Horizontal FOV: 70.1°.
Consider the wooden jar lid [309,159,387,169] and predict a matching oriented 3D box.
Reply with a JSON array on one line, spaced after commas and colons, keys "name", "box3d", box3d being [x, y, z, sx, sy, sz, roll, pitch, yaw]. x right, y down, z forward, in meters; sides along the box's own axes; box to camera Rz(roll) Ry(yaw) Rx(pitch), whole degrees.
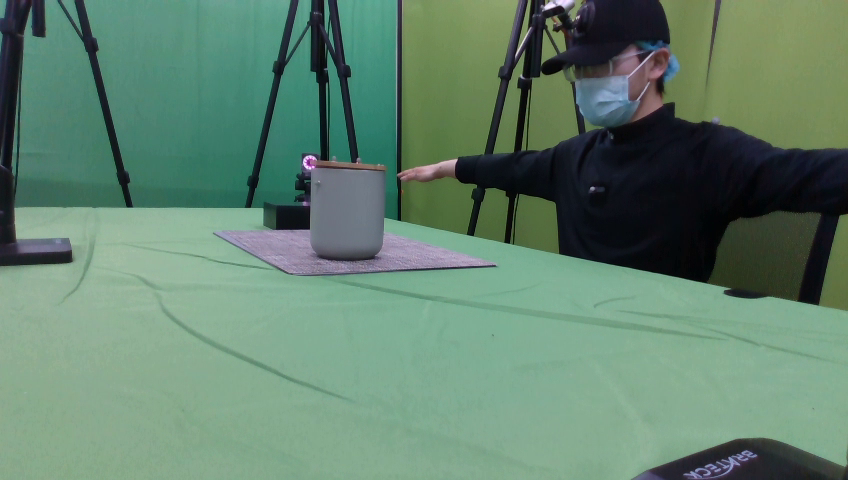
[{"name": "wooden jar lid", "box3d": [-0.107, -0.101, 0.851, 0.108, 0.020, 0.108, 4, 6, 0]}]

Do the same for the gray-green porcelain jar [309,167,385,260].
[{"name": "gray-green porcelain jar", "box3d": [-0.109, -0.040, 0.859, 0.106, 0.126, 0.106, 2, 7, 0]}]
